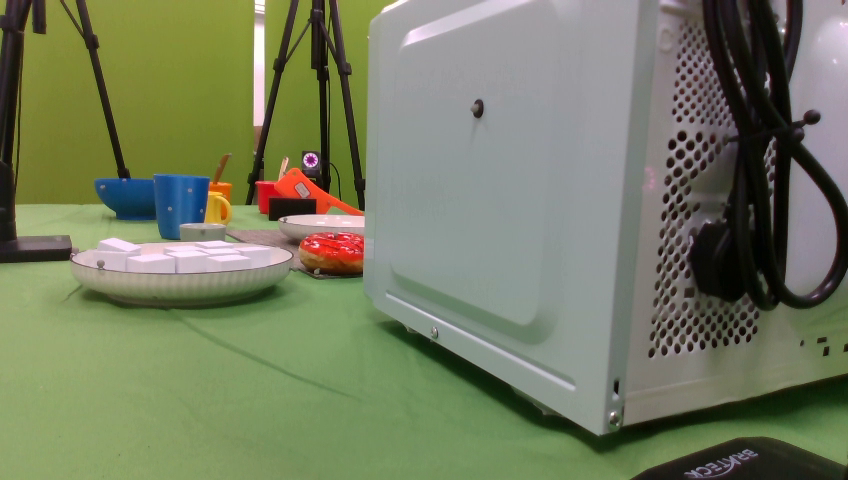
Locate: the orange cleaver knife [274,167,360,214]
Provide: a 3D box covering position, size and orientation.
[{"bbox_3d":[-0.238,-0.091,1.381,0.212,0.077,0.012,31,2,-19],"label":"orange cleaver knife"}]

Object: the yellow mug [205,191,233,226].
[{"bbox_3d":[-0.415,-0.057,1.131,0.130,0.064,0.100,6,8,16],"label":"yellow mug"}]

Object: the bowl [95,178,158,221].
[{"bbox_3d":[-0.576,-0.081,1.217,0.151,0.077,0.151,3,8,0],"label":"bowl"}]

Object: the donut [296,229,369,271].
[{"bbox_3d":[-0.106,0.014,0.739,0.099,0.048,0.099,4,8,0],"label":"donut"}]

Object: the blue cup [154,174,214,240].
[{"bbox_3d":[-0.391,-0.053,0.978,0.093,0.100,0.092,3,6,0],"label":"blue cup"}]

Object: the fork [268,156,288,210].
[{"bbox_3d":[-0.360,-0.144,1.507,0.028,0.018,0.207,1,49,0],"label":"fork"}]

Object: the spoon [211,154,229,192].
[{"bbox_3d":[-0.431,-0.115,1.253,0.042,0.193,0.021,-3,54,-33],"label":"spoon"}]

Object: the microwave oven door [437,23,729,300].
[{"bbox_3d":[0.181,-0.072,0.621,0.358,0.243,0.039,-2,8,-29],"label":"microwave oven door"}]

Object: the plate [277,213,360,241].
[{"bbox_3d":[-0.135,-0.017,0.992,0.209,0.038,0.209,3,8,0],"label":"plate"}]

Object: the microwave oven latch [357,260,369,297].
[{"bbox_3d":[-0.019,0.033,0.531,0.079,0.029,0.030,-1,7,-26],"label":"microwave oven latch"}]

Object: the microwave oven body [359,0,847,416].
[{"bbox_3d":[0.211,-0.047,0.474,0.444,0.260,0.324,-1,8,-28],"label":"microwave oven body"}]

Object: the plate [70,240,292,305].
[{"bbox_3d":[-0.242,0.031,0.618,0.208,0.039,0.207,2,8,0],"label":"plate"}]

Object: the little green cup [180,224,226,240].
[{"bbox_3d":[-0.309,-0.001,0.846,0.061,0.038,0.061,2,8,0],"label":"little green cup"}]
